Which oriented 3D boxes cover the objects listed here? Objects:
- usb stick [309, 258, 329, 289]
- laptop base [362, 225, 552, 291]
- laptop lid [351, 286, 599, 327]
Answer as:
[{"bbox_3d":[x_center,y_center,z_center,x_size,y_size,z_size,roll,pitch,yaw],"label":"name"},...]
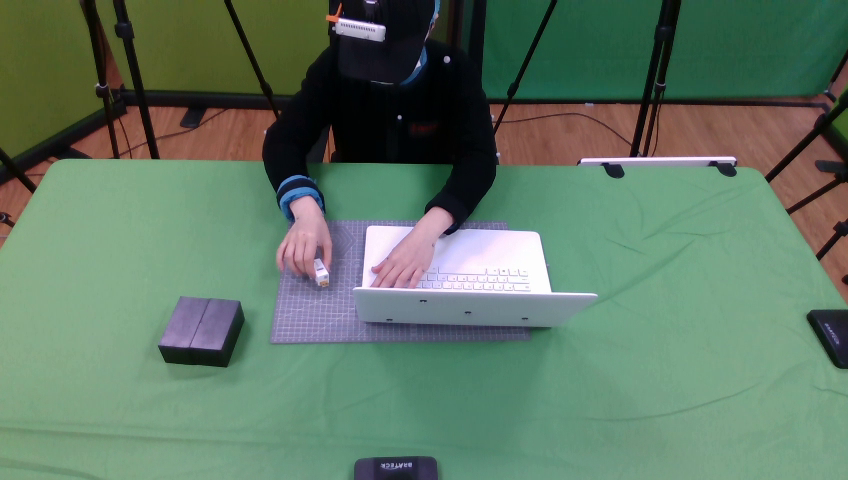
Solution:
[{"bbox_3d":[-0.189,0.062,1.100,0.021,0.027,0.059,-17,52,-23],"label":"usb stick"},{"bbox_3d":[0.061,0.063,1.145,0.354,0.023,0.234,2,43,-3],"label":"laptop base"},{"bbox_3d":[0.068,0.109,0.953,0.357,0.242,0.013,2,71,-4],"label":"laptop lid"}]
